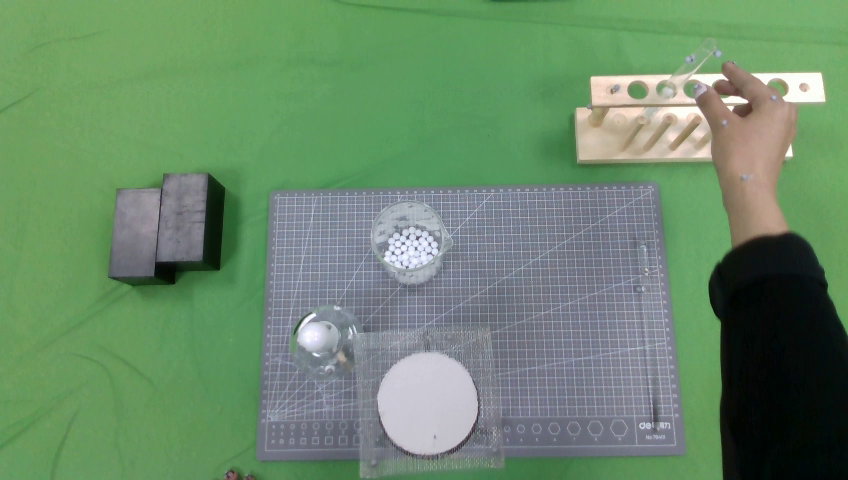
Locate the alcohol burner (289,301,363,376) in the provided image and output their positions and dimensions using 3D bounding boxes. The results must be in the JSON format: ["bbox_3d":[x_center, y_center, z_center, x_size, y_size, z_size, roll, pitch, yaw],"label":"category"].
[{"bbox_3d":[-0.102,0.097,0.614,0.078,0.120,0.077,0,74,2],"label":"alcohol burner"}]

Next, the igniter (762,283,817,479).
[{"bbox_3d":[0.378,0.182,0.628,0.057,0.025,0.275,8,78,-7],"label":"igniter"}]

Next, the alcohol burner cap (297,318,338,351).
[{"bbox_3d":[-0.103,0.090,0.578,0.034,0.048,0.033,-1,81,8],"label":"alcohol burner cap"}]

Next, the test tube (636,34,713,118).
[{"bbox_3d":[0.256,-0.166,0.631,0.017,0.151,0.017,1,75,-3],"label":"test tube"}]

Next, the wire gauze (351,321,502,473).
[{"bbox_3d":[0.001,0.133,0.523,0.125,0.011,0.121,-4,76,1],"label":"wire gauze"}]

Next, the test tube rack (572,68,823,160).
[{"bbox_3d":[0.296,-0.138,0.674,0.242,0.085,0.066,-1,76,2],"label":"test tube rack"}]

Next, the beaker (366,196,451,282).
[{"bbox_3d":[-0.014,0.004,0.640,0.084,0.100,0.073,8,77,3],"label":"beaker"}]

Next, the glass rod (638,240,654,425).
[{"bbox_3d":[0.241,0.098,0.658,0.008,0.008,0.199,0,80,1],"label":"glass rod"}]

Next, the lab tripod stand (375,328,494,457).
[{"bbox_3d":[0.004,0.152,0.588,0.148,0.132,0.147,-1,76,3],"label":"lab tripod stand"}]
